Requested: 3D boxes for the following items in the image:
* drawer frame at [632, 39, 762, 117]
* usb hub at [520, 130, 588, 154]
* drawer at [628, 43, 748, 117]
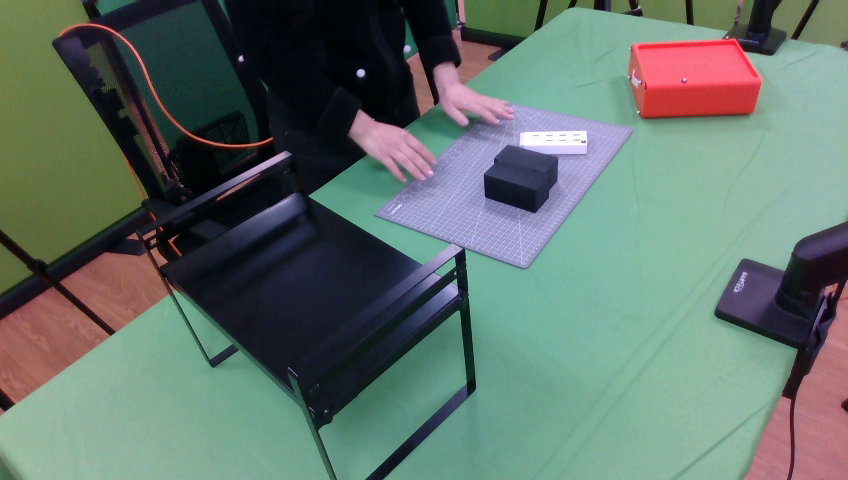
[{"bbox_3d":[0.539,-0.332,1.234,0.213,0.083,0.201,0,41,7],"label":"drawer frame"},{"bbox_3d":[0.246,-0.185,1.148,0.125,0.025,0.049,1,42,10],"label":"usb hub"},{"bbox_3d":[0.535,-0.331,1.235,0.211,0.073,0.194,0,40,8],"label":"drawer"}]
